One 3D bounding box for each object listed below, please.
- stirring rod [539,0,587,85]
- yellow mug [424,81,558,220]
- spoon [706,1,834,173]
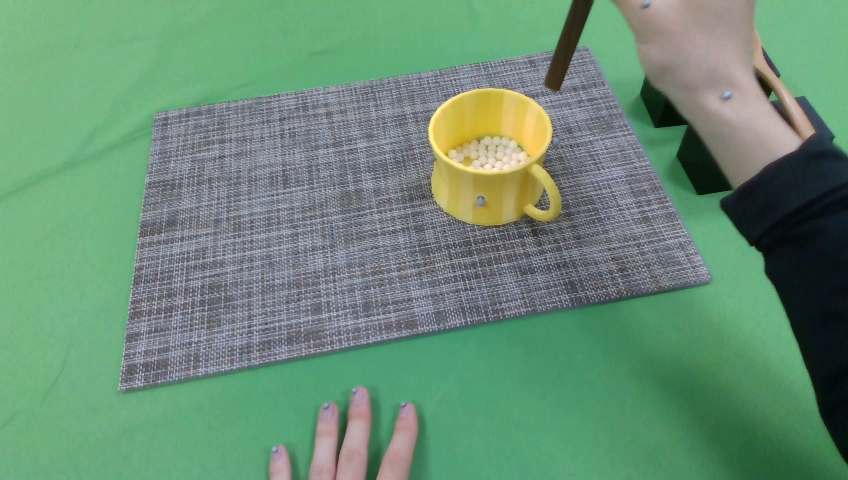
[{"bbox_3d":[0.105,-0.172,0.386,0.014,0.177,0.006,31,53,13],"label":"stirring rod"},{"bbox_3d":[0.061,-0.067,0.503,0.100,0.064,0.129,-37,62,-21],"label":"yellow mug"},{"bbox_3d":[0.290,-0.134,0.509,0.041,0.022,0.191,-9,57,-5],"label":"spoon"}]
